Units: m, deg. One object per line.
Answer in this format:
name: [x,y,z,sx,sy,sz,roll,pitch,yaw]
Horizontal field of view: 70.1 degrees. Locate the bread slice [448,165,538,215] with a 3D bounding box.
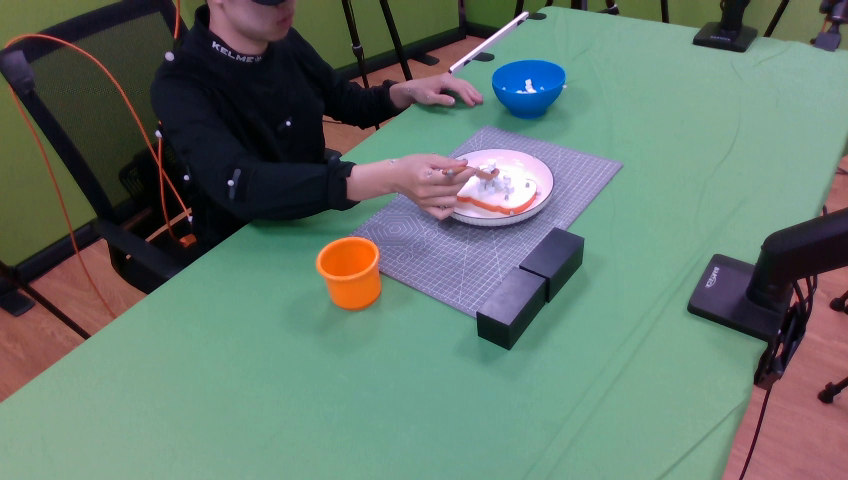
bread slice: [0.126,-0.084,1.038,0.133,0.018,0.107,16,45,28]

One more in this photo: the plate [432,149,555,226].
plate: [0.119,-0.087,1.037,0.209,0.038,0.208,-4,40,4]

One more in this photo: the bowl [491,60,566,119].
bowl: [0.215,-0.302,1.248,0.151,0.077,0.150,-4,40,4]

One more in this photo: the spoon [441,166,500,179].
spoon: [0.071,-0.107,0.941,0.041,0.021,0.195,10,7,27]
